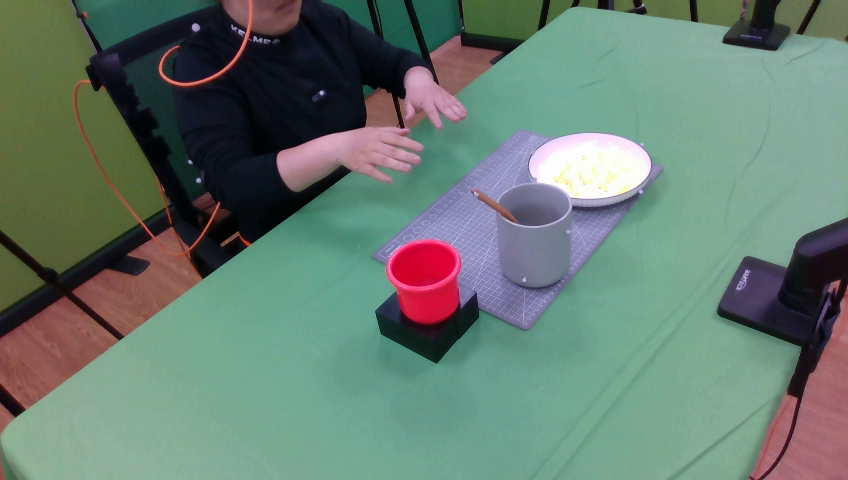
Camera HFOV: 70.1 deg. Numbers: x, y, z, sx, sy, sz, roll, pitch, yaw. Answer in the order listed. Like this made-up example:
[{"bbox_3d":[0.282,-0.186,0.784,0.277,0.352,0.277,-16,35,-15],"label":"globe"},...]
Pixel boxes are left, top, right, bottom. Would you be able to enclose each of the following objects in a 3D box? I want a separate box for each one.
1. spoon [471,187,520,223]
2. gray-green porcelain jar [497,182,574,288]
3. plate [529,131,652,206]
[{"bbox_3d":[0.122,-0.026,0.837,0.021,0.195,0.041,-32,47,19],"label":"spoon"},{"bbox_3d":[0.160,-0.003,0.869,0.106,0.127,0.105,-5,40,5],"label":"gray-green porcelain jar"},{"bbox_3d":[0.287,-0.122,1.055,0.207,0.039,0.206,-5,40,5],"label":"plate"}]
